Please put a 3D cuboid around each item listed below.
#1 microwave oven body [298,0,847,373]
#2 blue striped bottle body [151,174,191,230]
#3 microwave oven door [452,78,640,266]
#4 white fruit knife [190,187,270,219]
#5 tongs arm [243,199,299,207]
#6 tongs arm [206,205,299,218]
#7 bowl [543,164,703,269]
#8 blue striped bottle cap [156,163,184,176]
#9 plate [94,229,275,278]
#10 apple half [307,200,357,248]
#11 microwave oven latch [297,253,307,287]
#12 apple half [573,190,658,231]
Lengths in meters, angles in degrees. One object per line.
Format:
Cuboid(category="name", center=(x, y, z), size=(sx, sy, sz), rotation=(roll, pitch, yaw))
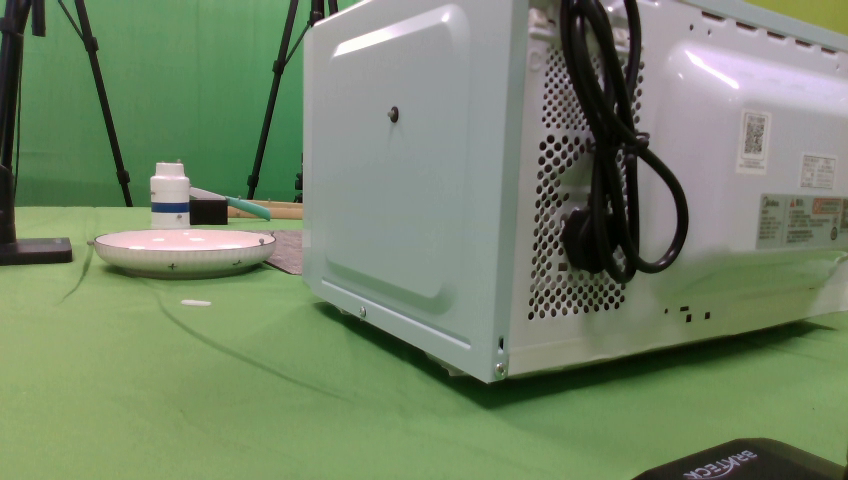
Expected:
Cuboid(category="microwave oven body", center=(0.151, -0.055, 0.543), size=(0.444, 0.260, 0.324), rotation=(-1, 7, -33))
Cuboid(category="blue striped bottle body", center=(-0.439, -0.071, 1.052), size=(0.063, 0.120, 0.063), rotation=(2, 7, 0))
Cuboid(category="microwave oven door", center=(0.164, -0.106, 0.918), size=(0.039, 0.243, 0.354), rotation=(-2, 8, -32))
Cuboid(category="white fruit knife", center=(-0.413, -0.081, 1.270), size=(0.208, 0.027, 0.016), rotation=(17, 14, -41))
Cuboid(category="tongs arm", center=(-0.309, -0.079, 1.487), size=(0.385, 0.026, 0.050), rotation=(3, 7, -2))
Cuboid(category="tongs arm", center=(-0.302, -0.065, 1.407), size=(0.389, 0.028, 0.028), rotation=(1, 4, -15))
Cuboid(category="bowl", center=(0.182, -0.019, 0.589), size=(0.151, 0.077, 0.151), rotation=(13, 7, -1))
Cuboid(category="blue striped bottle cap", center=(-0.438, -0.122, 1.045), size=(0.044, 0.020, 0.044), rotation=(5, 6, 0))
Cuboid(category="plate", center=(-0.291, 0.016, 0.749), size=(0.208, 0.039, 0.207), rotation=(2, 7, 0))
Cuboid(category="apple half", center=(-0.136, -0.024, 0.942), size=(0.053, 0.074, 0.081), rotation=(15, 10, 38))
Cuboid(category="microwave oven latch", center=(-0.081, 0.027, 0.580), size=(0.079, 0.029, 0.030), rotation=(-1, 7, -28))
Cuboid(category="apple half", center=(0.183, -0.031, 0.582), size=(0.081, 0.033, 0.081), rotation=(14, -3, 1))
